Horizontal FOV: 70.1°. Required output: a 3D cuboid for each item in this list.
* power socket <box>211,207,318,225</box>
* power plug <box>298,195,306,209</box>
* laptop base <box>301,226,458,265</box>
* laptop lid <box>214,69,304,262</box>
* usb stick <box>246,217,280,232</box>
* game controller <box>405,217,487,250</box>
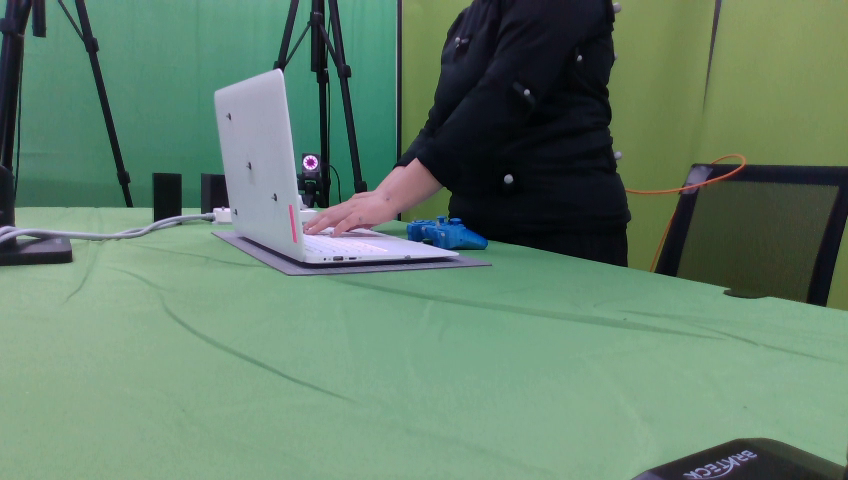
[{"bbox_3d":[-0.335,-0.051,1.281,0.228,0.032,0.072,-1,9,-29],"label":"power socket"},{"bbox_3d":[-0.284,-0.075,1.342,0.035,0.052,0.072,0,3,-18],"label":"power plug"},{"bbox_3d":[-0.136,0.007,0.951,0.237,0.023,0.352,2,6,-32],"label":"laptop base"},{"bbox_3d":[-0.247,-0.107,0.865,0.013,0.241,0.355,-11,14,-30],"label":"laptop lid"},{"bbox_3d":[-0.297,-0.029,1.113,0.059,0.027,0.021,-3,10,-30],"label":"usb stick"},{"bbox_3d":[0.033,-0.013,1.067,0.097,0.051,0.154,-6,10,-29],"label":"game controller"}]
